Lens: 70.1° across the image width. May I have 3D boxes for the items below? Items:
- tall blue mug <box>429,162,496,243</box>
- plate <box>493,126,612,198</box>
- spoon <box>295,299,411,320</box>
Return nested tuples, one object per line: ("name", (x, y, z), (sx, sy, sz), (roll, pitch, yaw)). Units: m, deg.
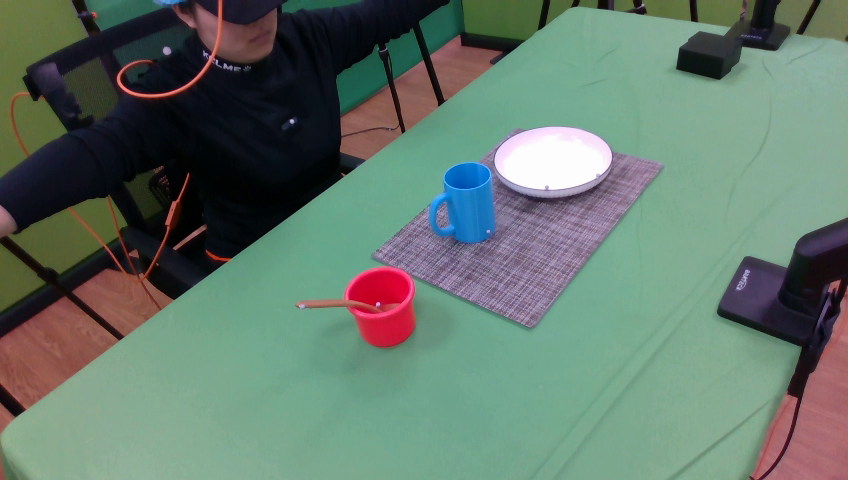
("tall blue mug", (0.066, -0.051, 0.960), (0.077, 0.108, 0.107), (17, 47, 27))
("plate", (0.229, -0.136, 1.085), (0.207, 0.039, 0.206), (-5, 40, 5))
("spoon", (-0.090, 0.088, 0.805), (0.195, 0.021, 0.041), (15, 12, -47))
